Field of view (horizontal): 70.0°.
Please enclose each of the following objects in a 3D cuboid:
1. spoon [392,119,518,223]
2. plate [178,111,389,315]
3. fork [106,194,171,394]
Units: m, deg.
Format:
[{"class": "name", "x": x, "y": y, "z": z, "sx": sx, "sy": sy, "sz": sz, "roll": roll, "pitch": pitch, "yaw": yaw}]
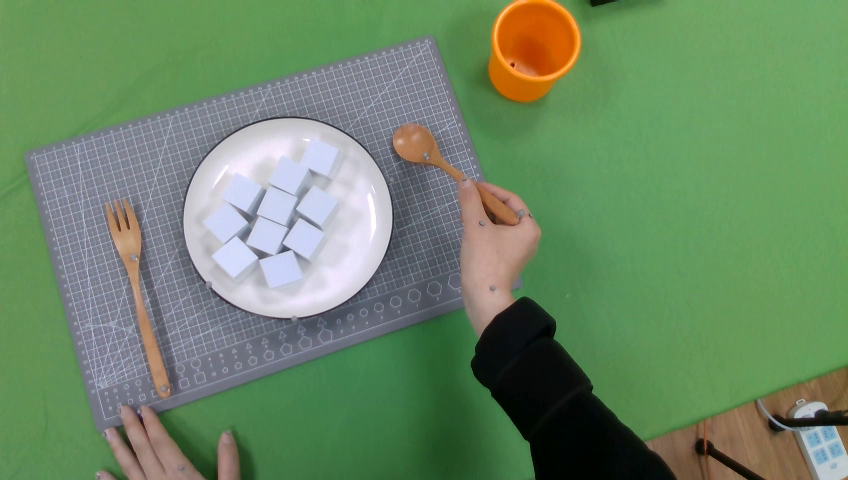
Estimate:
[{"class": "spoon", "x": 0.026, "y": -0.070, "z": 0.600, "sx": 0.041, "sy": 0.022, "sz": 0.191, "roll": -43, "pitch": 49, "yaw": -3}, {"class": "plate", "x": -0.139, "y": -0.026, "z": 0.619, "sx": 0.208, "sy": 0.039, "sz": 0.207, "roll": 1, "pitch": 82, "yaw": -4}, {"class": "fork", "x": -0.284, "y": 0.053, "z": 0.607, "sx": 0.028, "sy": 0.018, "sz": 0.206, "roll": -16, "pitch": 81, "yaw": -12}]
